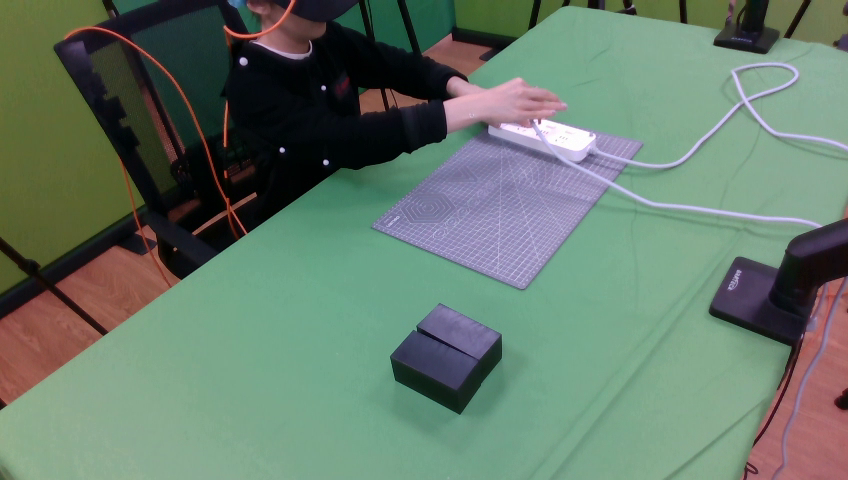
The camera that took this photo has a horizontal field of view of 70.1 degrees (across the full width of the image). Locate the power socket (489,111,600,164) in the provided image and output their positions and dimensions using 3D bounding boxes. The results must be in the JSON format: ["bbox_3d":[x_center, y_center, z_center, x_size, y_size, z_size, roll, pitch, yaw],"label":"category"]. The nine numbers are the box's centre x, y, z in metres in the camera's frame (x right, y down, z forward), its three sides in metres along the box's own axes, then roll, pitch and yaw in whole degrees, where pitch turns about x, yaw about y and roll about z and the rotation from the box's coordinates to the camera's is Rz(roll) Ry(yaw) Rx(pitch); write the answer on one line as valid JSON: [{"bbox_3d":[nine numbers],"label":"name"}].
[{"bbox_3d":[0.226,-0.200,1.165,0.225,0.033,0.072,25,51,32],"label":"power socket"}]

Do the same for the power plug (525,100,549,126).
[{"bbox_3d":[0.196,-0.223,1.091,0.073,0.053,0.035,-38,48,-25],"label":"power plug"}]
